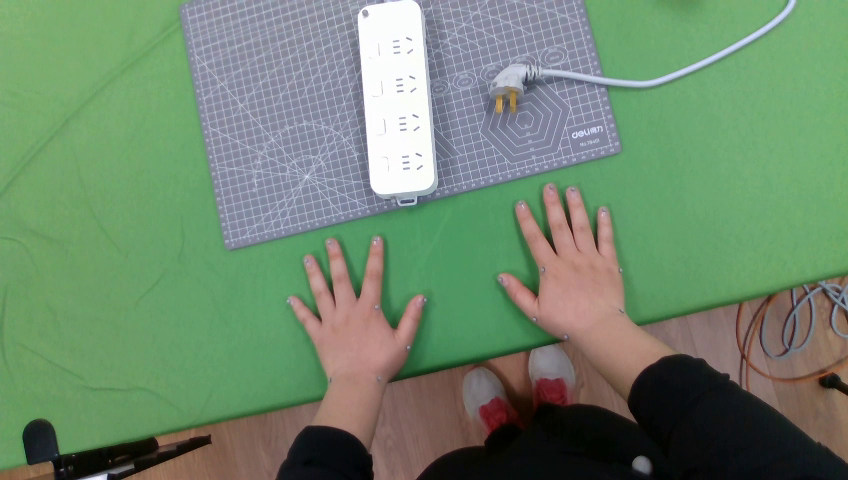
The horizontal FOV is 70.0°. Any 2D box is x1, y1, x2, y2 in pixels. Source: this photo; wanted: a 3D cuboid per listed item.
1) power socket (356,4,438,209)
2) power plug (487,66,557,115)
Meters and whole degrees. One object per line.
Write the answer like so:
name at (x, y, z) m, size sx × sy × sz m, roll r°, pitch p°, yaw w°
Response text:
power socket at (-0.030, -0.148, 0.660) m, size 0.072 × 0.033 × 0.226 m, roll -6°, pitch 84°, yaw 6°
power plug at (0.102, -0.158, 0.637) m, size 0.072 × 0.035 × 0.052 m, roll -4°, pitch 76°, yaw 19°
